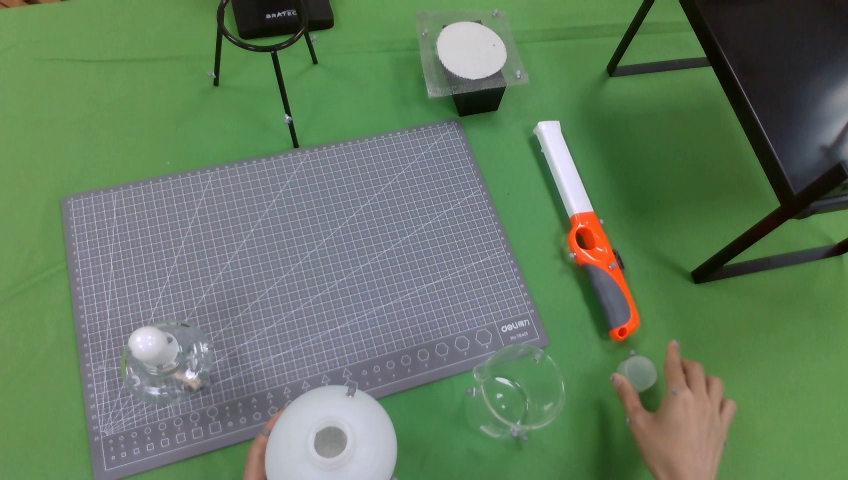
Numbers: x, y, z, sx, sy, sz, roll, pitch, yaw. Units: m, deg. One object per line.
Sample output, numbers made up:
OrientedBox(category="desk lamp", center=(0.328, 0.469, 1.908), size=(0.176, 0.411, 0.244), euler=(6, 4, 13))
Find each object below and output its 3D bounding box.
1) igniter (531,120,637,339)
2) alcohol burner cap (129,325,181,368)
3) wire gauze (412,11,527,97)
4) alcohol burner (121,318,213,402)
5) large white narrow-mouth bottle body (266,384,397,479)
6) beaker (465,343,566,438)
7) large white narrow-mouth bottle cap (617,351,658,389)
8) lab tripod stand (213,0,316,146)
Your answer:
OrientedBox(category="igniter", center=(0.182, -0.019, 0.695), size=(0.057, 0.025, 0.274), euler=(-7, 67, -22))
OrientedBox(category="alcohol burner cap", center=(-0.224, 0.087, 0.500), size=(0.034, 0.048, 0.033), euler=(2, 72, -5))
OrientedBox(category="wire gauze", center=(0.053, -0.228, 0.727), size=(0.122, 0.011, 0.124), euler=(-7, 67, -11))
OrientedBox(category="alcohol burner", center=(-0.229, 0.101, 0.533), size=(0.078, 0.120, 0.077), euler=(4, 63, -8))
OrientedBox(category="large white narrow-mouth bottle body", center=(-0.073, 0.170, 0.483), size=(0.102, 0.196, 0.101), euler=(3, 64, -6))
OrientedBox(category="beaker", center=(0.077, 0.145, 0.569), size=(0.084, 0.101, 0.073), euler=(17, 64, 1))
OrientedBox(category="large white narrow-mouth bottle cap", center=(0.223, 0.136, 0.636), size=(0.038, 0.024, 0.037), euler=(3, 65, -6))
OrientedBox(category="lab tripod stand", center=(-0.168, -0.198, 0.668), size=(0.149, 0.132, 0.147), euler=(4, 66, -8))
